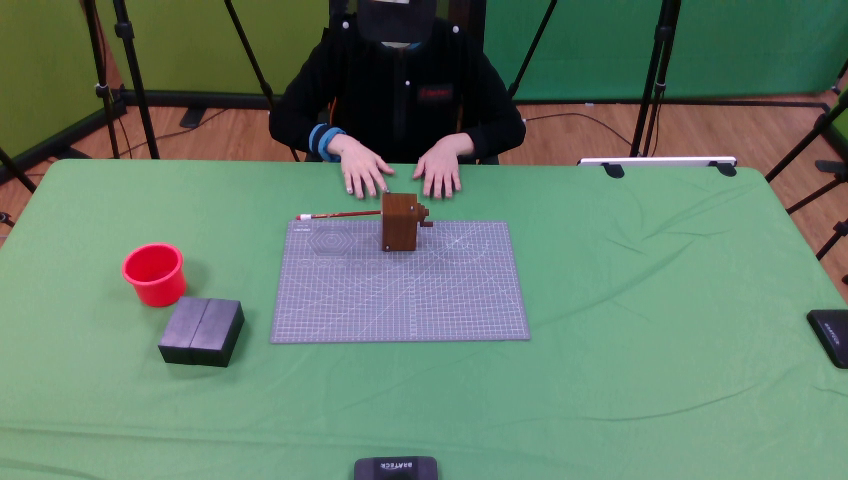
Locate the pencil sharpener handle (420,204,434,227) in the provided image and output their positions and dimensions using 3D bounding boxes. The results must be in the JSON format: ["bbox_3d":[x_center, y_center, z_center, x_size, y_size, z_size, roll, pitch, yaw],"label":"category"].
[{"bbox_3d":[0.006,-0.047,1.161,0.031,0.068,0.036,0,61,-4],"label":"pencil sharpener handle"}]

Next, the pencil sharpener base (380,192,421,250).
[{"bbox_3d":[-0.046,-0.035,1.163,0.077,0.107,0.061,0,46,-5],"label":"pencil sharpener base"}]

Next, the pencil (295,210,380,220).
[{"bbox_3d":[-0.147,-0.049,1.144,0.194,0.012,0.012,-4,46,3],"label":"pencil"}]
